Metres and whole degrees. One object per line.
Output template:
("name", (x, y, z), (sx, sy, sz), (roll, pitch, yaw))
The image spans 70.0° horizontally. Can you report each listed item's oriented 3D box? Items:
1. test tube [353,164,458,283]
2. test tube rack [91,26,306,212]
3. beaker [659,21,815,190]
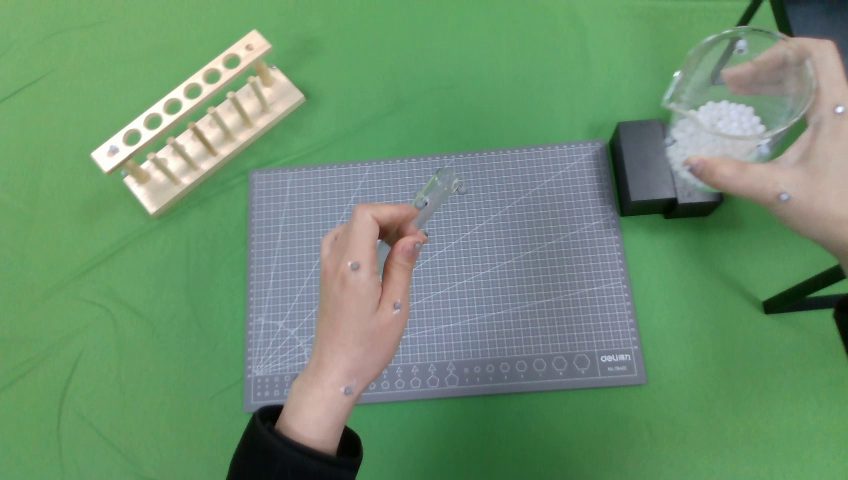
("test tube", (-0.018, -0.005, 0.407), (0.017, 0.150, 0.017), (13, 58, -21))
("test tube rack", (-0.269, -0.147, 0.746), (0.242, 0.086, 0.066), (-41, 75, -9))
("beaker", (0.194, -0.080, 0.397), (0.084, 0.101, 0.073), (-11, 71, 13))
